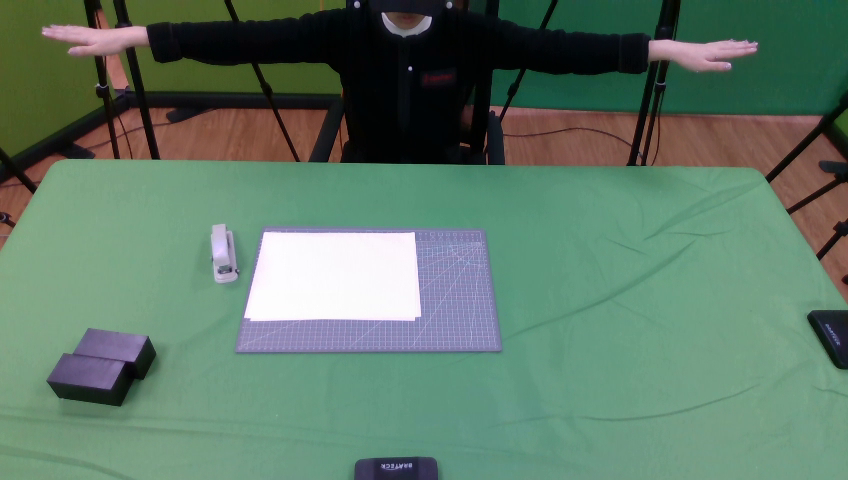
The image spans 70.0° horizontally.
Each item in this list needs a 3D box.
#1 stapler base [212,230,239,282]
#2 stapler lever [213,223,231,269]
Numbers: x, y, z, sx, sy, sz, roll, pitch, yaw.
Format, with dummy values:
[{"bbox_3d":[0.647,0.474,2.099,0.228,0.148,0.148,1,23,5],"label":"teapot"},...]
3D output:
[{"bbox_3d":[-0.377,0.024,1.144,0.041,0.024,0.129,-9,46,-15],"label":"stapler base"},{"bbox_3d":[-0.377,0.005,1.127,0.027,0.040,0.117,-10,46,-15],"label":"stapler lever"}]
